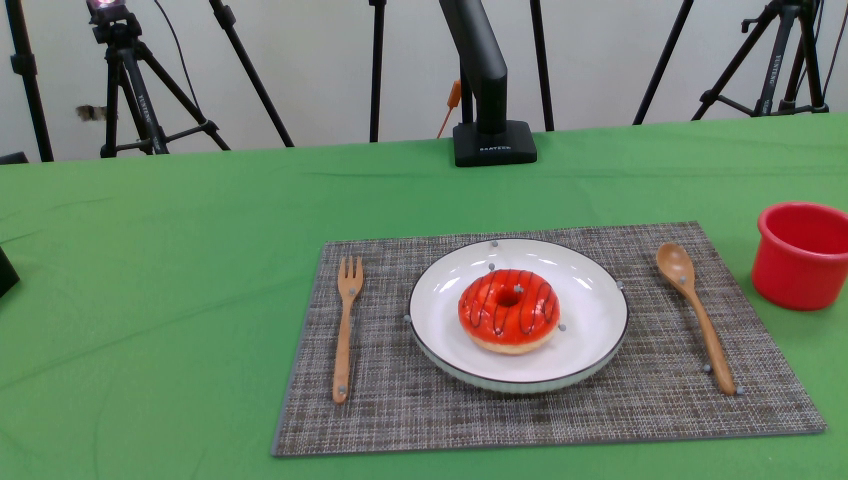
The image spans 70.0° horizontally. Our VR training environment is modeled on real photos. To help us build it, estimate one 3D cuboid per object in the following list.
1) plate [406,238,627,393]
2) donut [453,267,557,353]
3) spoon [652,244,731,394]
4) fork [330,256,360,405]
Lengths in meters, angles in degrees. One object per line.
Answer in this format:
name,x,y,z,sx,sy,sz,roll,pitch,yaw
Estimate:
plate,0.088,0.072,0.590,0.209,0.038,0.207,-3,35,2
donut,0.078,0.066,0.580,0.099,0.049,0.098,-4,38,4
spoon,0.261,0.068,0.589,0.042,0.022,0.192,13,35,-6
fork,-0.081,0.082,0.611,0.028,0.019,0.205,1,34,-4
